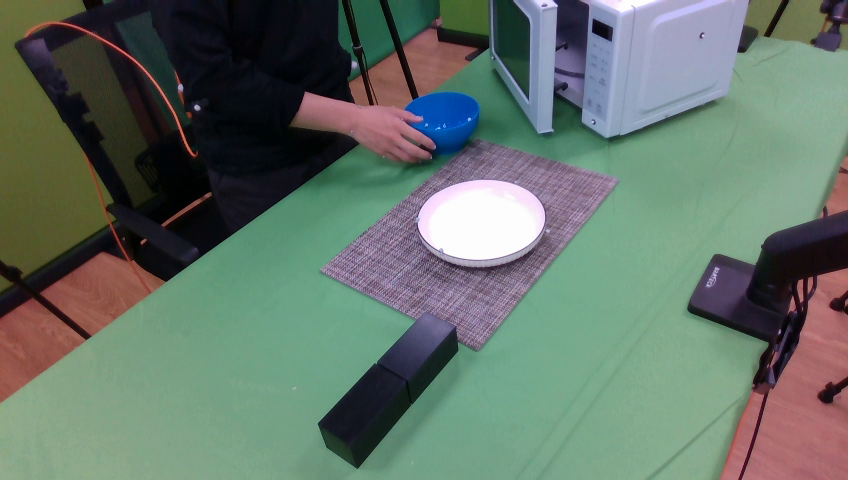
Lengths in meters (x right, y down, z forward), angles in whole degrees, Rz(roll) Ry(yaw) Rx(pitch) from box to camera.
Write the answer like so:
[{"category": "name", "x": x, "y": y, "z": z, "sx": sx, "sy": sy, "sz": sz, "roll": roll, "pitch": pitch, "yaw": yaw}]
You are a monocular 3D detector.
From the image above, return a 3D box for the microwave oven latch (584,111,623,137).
[{"category": "microwave oven latch", "x": 0.337, "y": -0.222, "z": 1.142, "sx": 0.030, "sy": 0.029, "sz": 0.078, "roll": -21, "pitch": 42, "yaw": -14}]

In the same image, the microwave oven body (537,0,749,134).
[{"category": "microwave oven body", "x": 0.382, "y": -0.444, "z": 1.246, "sx": 0.327, "sy": 0.261, "sz": 0.437, "roll": -22, "pitch": 42, "yaw": -16}]

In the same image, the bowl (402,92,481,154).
[{"category": "bowl", "x": 0.036, "y": -0.219, "z": 1.180, "sx": 0.151, "sy": 0.077, "sz": 0.150, "roll": -2, "pitch": 40, "yaw": 3}]

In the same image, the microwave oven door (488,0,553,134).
[{"category": "microwave oven door", "x": 0.189, "y": -0.407, "z": 1.222, "sx": 0.039, "sy": 0.245, "sz": 0.353, "roll": -11, "pitch": 40, "yaw": -5}]

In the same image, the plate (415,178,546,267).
[{"category": "plate", "x": 0.091, "y": -0.026, "z": 0.970, "sx": 0.207, "sy": 0.039, "sz": 0.206, "roll": -4, "pitch": 41, "yaw": 4}]
